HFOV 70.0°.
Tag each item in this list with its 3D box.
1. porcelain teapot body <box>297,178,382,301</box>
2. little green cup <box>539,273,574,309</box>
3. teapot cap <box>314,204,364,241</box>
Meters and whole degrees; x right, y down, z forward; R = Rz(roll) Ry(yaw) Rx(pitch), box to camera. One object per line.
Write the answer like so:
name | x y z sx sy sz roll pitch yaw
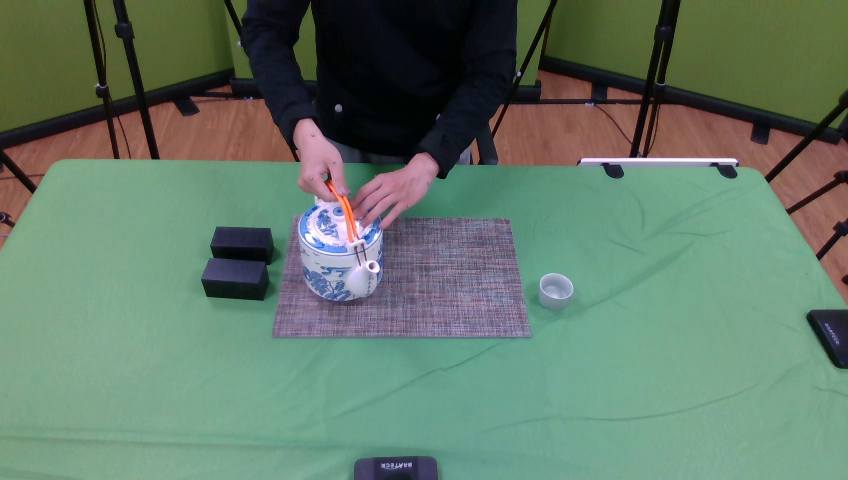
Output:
porcelain teapot body | -0.129 0.011 1.033 0.145 0.226 0.204 -24 53 -25
little green cup | 0.240 0.096 1.113 0.061 0.039 0.061 2 47 -2
teapot cap | -0.144 -0.034 1.020 0.085 0.044 0.084 2 49 -2
